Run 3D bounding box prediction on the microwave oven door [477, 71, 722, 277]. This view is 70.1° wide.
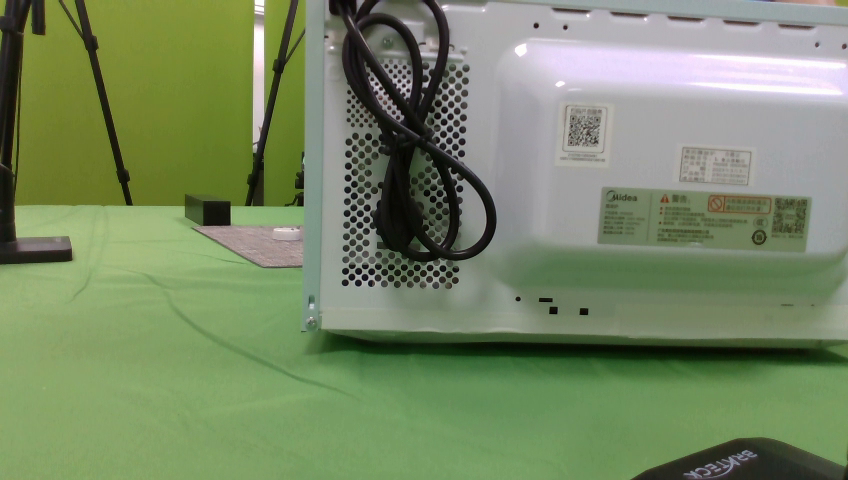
[{"bbox_3d":[0.217,-0.094,0.836,0.039,0.243,0.354,-3,8,-40],"label":"microwave oven door"}]

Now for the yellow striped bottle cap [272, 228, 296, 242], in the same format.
[{"bbox_3d":[-0.232,-0.008,1.011,0.044,0.018,0.044,4,7,0],"label":"yellow striped bottle cap"}]

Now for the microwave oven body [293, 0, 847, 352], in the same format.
[{"bbox_3d":[0.122,-0.055,0.550,0.442,0.260,0.325,3,7,-5],"label":"microwave oven body"}]

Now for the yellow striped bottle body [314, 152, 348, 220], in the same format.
[{"bbox_3d":[-0.170,-0.100,1.109,0.063,0.120,0.063,2,12,0],"label":"yellow striped bottle body"}]

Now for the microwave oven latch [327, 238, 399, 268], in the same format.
[{"bbox_3d":[-0.069,0.015,0.694,0.079,0.029,0.030,3,7,-3],"label":"microwave oven latch"}]
